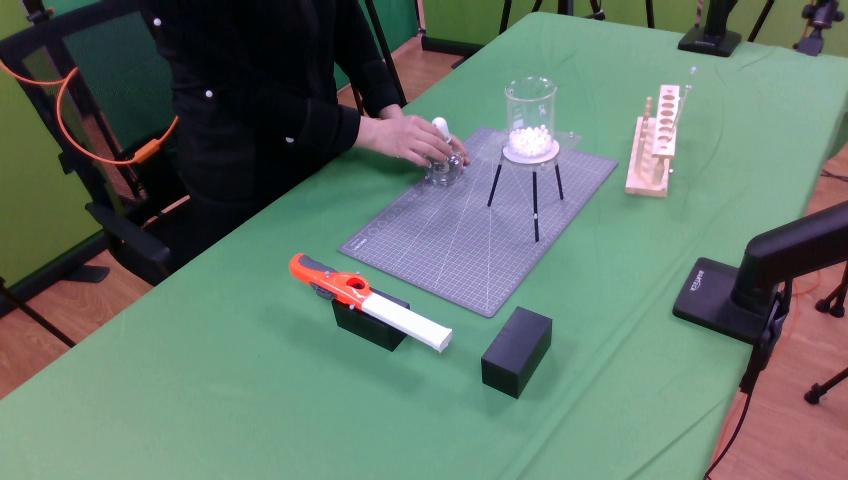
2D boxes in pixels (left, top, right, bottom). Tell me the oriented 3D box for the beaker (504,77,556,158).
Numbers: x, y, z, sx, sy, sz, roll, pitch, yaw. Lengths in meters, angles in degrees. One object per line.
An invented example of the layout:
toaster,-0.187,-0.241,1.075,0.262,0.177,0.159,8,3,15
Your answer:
beaker,0.160,-0.181,0.900,0.084,0.101,0.073,-33,46,-27

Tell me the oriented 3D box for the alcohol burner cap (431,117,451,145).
alcohol burner cap,0.028,-0.192,1.052,0.034,0.048,0.033,-6,45,7

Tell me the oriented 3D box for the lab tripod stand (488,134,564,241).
lab tripod stand,0.168,-0.092,0.972,0.148,0.132,0.147,-5,41,5

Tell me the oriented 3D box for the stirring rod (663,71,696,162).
stirring rod,0.410,-0.195,0.981,0.014,0.177,0.006,11,50,13

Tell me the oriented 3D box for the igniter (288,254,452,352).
igniter,-0.083,0.079,0.818,0.274,0.025,0.057,23,46,27

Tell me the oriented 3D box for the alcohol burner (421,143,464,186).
alcohol burner,0.032,-0.158,1.084,0.078,0.119,0.077,-5,42,5

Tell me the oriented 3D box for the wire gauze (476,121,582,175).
wire gauze,0.162,-0.142,0.929,0.120,0.011,0.125,19,49,32

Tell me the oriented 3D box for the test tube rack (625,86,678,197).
test tube rack,0.412,-0.184,1.088,0.066,0.085,0.242,9,43,18
